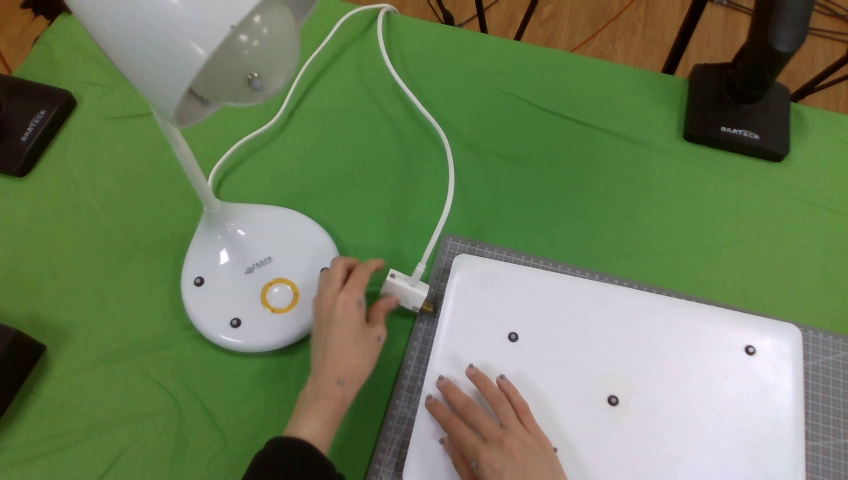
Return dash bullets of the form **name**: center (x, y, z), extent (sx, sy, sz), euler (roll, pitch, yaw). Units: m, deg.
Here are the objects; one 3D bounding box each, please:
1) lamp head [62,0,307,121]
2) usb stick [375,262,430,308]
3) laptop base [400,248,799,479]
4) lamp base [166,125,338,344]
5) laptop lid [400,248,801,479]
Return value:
- **lamp head**: center (-0.123, -0.133, 0.280), extent (0.123, 0.112, 0.112), euler (41, 68, -8)
- **usb stick**: center (-0.018, 0.048, 0.610), extent (0.059, 0.027, 0.021), euler (29, 27, -8)
- **laptop base**: center (0.173, 0.148, 0.578), extent (0.354, 0.023, 0.234), euler (12, 68, 4)
- **lamp base**: center (-0.177, -0.013, 0.557), extent (0.178, 0.181, 0.160), euler (40, 69, 20)
- **laptop lid**: center (0.173, 0.145, 0.567), extent (0.356, 0.013, 0.240), euler (13, 67, 5)
